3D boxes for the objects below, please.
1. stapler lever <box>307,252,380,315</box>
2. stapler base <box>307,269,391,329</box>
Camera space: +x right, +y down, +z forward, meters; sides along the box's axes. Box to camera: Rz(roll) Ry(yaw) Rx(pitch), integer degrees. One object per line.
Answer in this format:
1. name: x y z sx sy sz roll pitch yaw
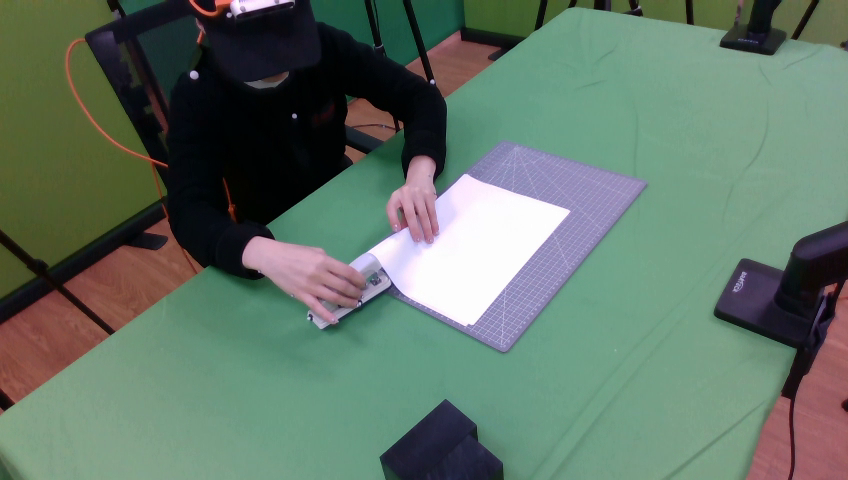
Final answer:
1. stapler lever: -0.114 0.059 0.858 0.118 0.040 0.026 -34 42 -25
2. stapler base: -0.109 0.077 0.875 0.131 0.024 0.041 -34 42 -25
